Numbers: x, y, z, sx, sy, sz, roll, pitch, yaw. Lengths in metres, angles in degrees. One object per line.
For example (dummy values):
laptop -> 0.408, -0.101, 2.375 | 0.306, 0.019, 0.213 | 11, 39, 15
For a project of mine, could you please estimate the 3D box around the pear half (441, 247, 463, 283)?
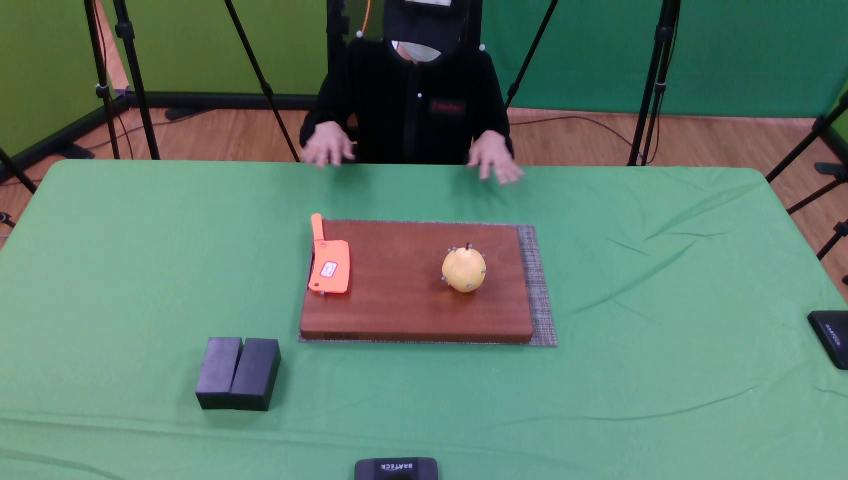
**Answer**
pear half -> 0.050, 0.039, 1.079 | 0.031, 0.088, 0.070 | 24, 54, 17

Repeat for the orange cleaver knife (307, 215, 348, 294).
orange cleaver knife -> -0.180, 0.023, 1.126 | 0.077, 0.012, 0.210 | -6, 44, -6

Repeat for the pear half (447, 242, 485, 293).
pear half -> 0.080, 0.047, 1.059 | 0.056, 0.110, 0.076 | 24, 54, 19
